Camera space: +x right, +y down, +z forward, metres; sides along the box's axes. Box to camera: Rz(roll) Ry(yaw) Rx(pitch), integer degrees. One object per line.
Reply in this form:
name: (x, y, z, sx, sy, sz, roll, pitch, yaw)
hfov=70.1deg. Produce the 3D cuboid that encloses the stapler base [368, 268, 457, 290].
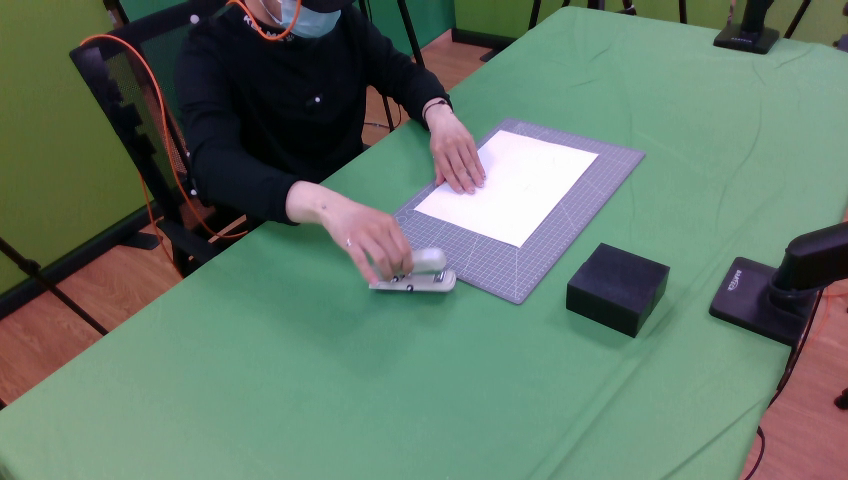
stapler base: (-0.019, 0.052, 0.891, 0.130, 0.024, 0.041, -1, 36, 16)

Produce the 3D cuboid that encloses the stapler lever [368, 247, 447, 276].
stapler lever: (-0.025, 0.032, 0.875, 0.117, 0.040, 0.027, -1, 36, 16)
